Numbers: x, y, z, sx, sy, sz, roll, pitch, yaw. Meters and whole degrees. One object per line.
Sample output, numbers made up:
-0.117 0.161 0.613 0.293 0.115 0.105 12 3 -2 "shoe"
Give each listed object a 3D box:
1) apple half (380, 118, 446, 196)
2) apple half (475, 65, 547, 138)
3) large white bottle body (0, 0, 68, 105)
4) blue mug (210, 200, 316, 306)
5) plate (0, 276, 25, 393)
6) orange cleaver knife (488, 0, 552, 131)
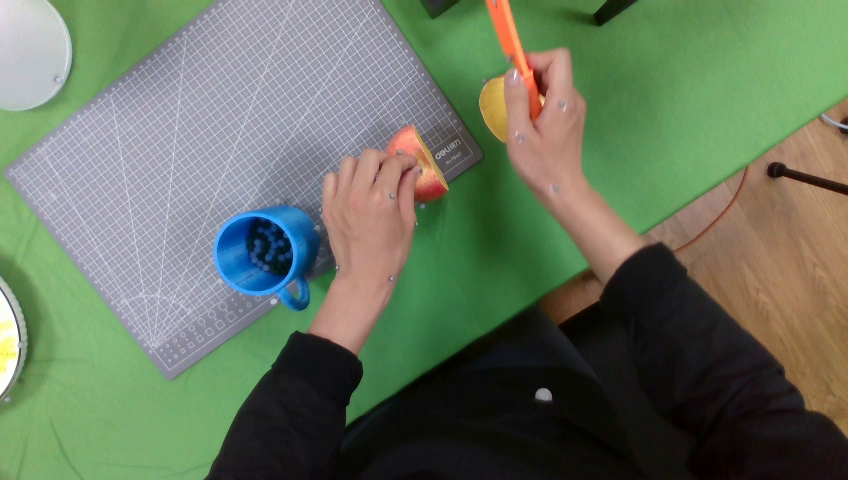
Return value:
-0.017 -0.081 0.635 0.053 0.074 0.081 -29 101 8 "apple half"
0.090 -0.148 0.646 0.081 0.032 0.081 -3 106 -11 "apple half"
-0.448 -0.200 0.568 0.130 0.184 0.131 0 98 1 "large white bottle body"
-0.156 0.016 0.636 0.082 0.105 0.117 -27 97 4 "blue mug"
-0.555 0.098 0.689 0.209 0.038 0.209 0 99 1 "plate"
0.072 -0.193 0.535 0.012 0.076 0.213 -27 128 3 "orange cleaver knife"
